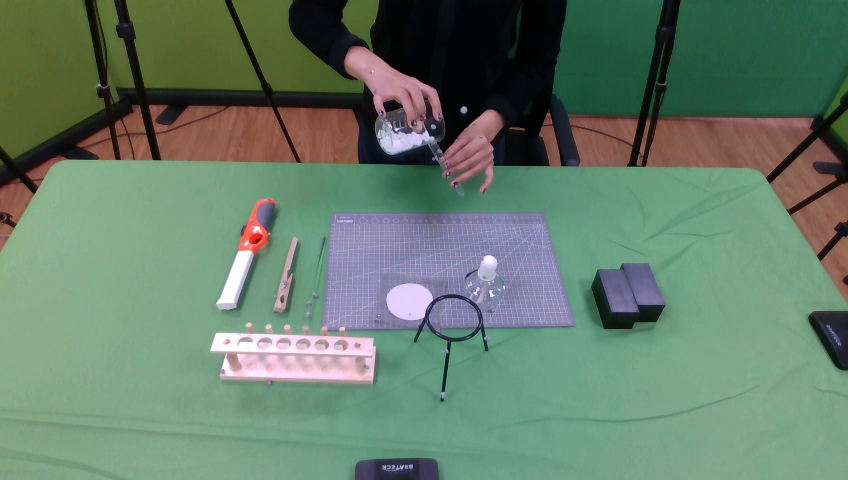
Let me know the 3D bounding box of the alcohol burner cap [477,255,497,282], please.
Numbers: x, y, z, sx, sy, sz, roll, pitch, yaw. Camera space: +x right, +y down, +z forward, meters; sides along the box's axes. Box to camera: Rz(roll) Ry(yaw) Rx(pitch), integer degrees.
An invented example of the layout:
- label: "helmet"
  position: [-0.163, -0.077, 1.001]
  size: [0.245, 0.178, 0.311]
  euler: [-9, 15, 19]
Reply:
- label: "alcohol burner cap"
  position: [0.110, 0.047, 1.046]
  size: [0.034, 0.048, 0.033]
  euler: [2, 52, -2]

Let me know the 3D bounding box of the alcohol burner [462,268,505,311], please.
- label: "alcohol burner"
  position: [0.108, 0.071, 1.072]
  size: [0.078, 0.119, 0.077]
  euler: [4, 45, -4]

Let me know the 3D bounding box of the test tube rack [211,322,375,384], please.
- label: "test tube rack"
  position: [-0.202, 0.176, 0.969]
  size: [0.242, 0.085, 0.066]
  euler: [3, 46, -2]

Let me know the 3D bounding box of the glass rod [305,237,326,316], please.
- label: "glass rod"
  position: [-0.202, 0.063, 1.131]
  size: [0.008, 0.008, 0.198]
  euler: [4, 44, 0]

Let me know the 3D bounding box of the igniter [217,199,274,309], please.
- label: "igniter"
  position: [-0.336, 0.017, 1.153]
  size: [0.057, 0.025, 0.275]
  euler: [-2, 45, 8]

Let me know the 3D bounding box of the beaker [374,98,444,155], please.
- label: "beaker"
  position: [-0.027, -0.187, 1.023]
  size: [0.100, 0.084, 0.073]
  euler: [-22, 45, -24]

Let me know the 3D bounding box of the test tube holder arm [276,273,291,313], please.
- label: "test tube holder arm"
  position: [-0.254, 0.093, 1.094]
  size: [0.010, 0.015, 0.087]
  euler: [29, 38, -27]

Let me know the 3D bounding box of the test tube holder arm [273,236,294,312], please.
- label: "test tube holder arm"
  position: [-0.259, 0.059, 1.122]
  size: [0.013, 0.015, 0.177]
  euler: [28, 39, -28]

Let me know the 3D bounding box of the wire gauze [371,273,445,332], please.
- label: "wire gauze"
  position: [-0.028, 0.109, 1.099]
  size: [0.125, 0.011, 0.121]
  euler: [7, 45, 4]

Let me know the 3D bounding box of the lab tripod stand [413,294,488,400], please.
- label: "lab tripod stand"
  position: [0.045, 0.159, 0.972]
  size: [0.148, 0.132, 0.147]
  euler: [3, 44, -2]

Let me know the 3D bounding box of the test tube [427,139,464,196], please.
- label: "test tube"
  position: [0.042, -0.131, 1.120]
  size: [0.017, 0.151, 0.017]
  euler: [-15, 49, 19]
